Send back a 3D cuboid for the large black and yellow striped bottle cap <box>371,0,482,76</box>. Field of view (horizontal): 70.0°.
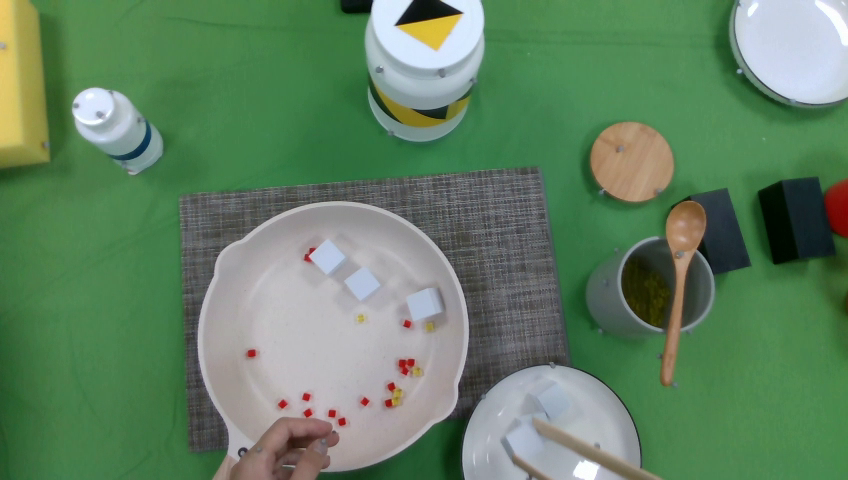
[{"bbox_3d":[0.002,-0.225,0.620,0.115,0.019,0.114,1,81,-4],"label":"large black and yellow striped bottle cap"}]

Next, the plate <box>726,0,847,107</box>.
[{"bbox_3d":[0.510,-0.276,0.828,0.209,0.038,0.208,1,79,-4],"label":"plate"}]

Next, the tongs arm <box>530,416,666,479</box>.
[{"bbox_3d":[0.252,0.246,0.516,0.384,0.028,0.028,21,46,38],"label":"tongs arm"}]

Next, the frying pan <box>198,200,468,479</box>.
[{"bbox_3d":[-0.156,0.182,0.653,0.306,0.103,0.486,35,71,4],"label":"frying pan"}]

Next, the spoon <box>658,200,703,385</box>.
[{"bbox_3d":[0.261,0.054,0.631,0.042,0.021,0.193,11,82,-6],"label":"spoon"}]

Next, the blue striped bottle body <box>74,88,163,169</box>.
[{"bbox_3d":[-0.350,-0.129,0.691,0.063,0.121,0.063,1,78,-4],"label":"blue striped bottle body"}]

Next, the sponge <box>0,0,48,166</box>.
[{"bbox_3d":[-0.531,-0.193,0.720,0.118,0.061,0.206,-10,81,-7],"label":"sponge"}]

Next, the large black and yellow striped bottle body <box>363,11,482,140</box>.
[{"bbox_3d":[-0.004,-0.207,0.702,0.131,0.184,0.130,1,78,-4],"label":"large black and yellow striped bottle body"}]

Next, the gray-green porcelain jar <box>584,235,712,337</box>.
[{"bbox_3d":[0.250,0.058,0.700,0.106,0.127,0.105,1,79,-4],"label":"gray-green porcelain jar"}]

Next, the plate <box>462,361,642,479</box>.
[{"bbox_3d":[0.145,0.244,0.700,0.208,0.039,0.207,1,81,-4],"label":"plate"}]

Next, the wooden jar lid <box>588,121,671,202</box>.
[{"bbox_3d":[0.264,-0.101,0.786,0.108,0.021,0.108,1,81,-4],"label":"wooden jar lid"}]

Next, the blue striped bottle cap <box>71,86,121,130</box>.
[{"bbox_3d":[-0.348,-0.140,0.642,0.044,0.020,0.044,1,81,-4],"label":"blue striped bottle cap"}]

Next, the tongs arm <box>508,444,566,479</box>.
[{"bbox_3d":[0.235,0.261,0.503,0.381,0.027,0.051,24,51,40],"label":"tongs arm"}]
